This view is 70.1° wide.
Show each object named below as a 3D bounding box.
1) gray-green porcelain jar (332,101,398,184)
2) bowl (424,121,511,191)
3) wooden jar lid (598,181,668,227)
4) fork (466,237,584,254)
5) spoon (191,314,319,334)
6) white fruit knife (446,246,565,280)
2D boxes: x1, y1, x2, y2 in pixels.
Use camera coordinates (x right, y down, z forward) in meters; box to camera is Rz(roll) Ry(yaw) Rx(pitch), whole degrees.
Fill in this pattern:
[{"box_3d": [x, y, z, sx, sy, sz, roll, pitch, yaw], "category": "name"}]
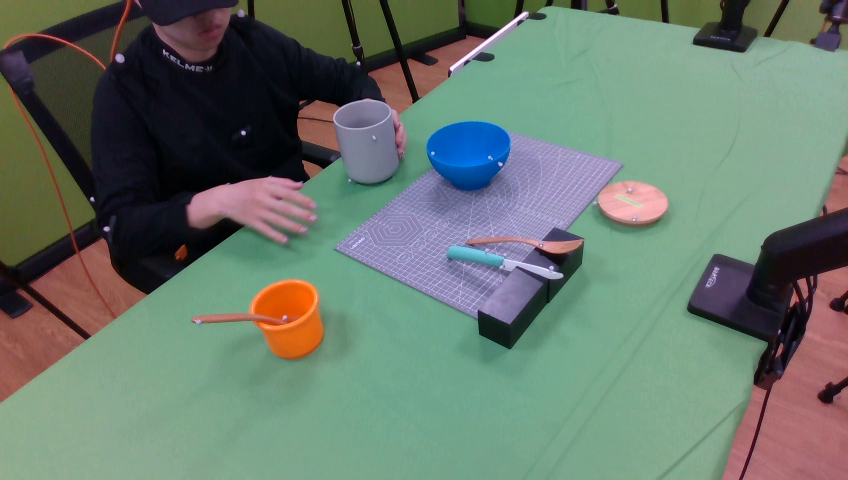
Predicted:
[{"box_3d": [-0.105, -0.174, 1.108, 0.106, 0.127, 0.105, -4, 40, 4], "category": "gray-green porcelain jar"}, {"box_3d": [0.080, -0.141, 1.074, 0.151, 0.077, 0.150, -4, 40, 4], "category": "bowl"}, {"box_3d": [0.340, -0.058, 0.989, 0.108, 0.021, 0.108, -5, 41, 5], "category": "wooden jar lid"}, {"box_3d": [0.142, 0.005, 0.894, 0.205, 0.019, 0.028, 4, 43, 41], "category": "fork"}, {"box_3d": [-0.212, 0.105, 0.781, 0.041, 0.195, 0.021, 29, 97, 37], "category": "spoon"}, {"box_3d": [0.111, 0.033, 0.868, 0.205, 0.027, 0.016, 11, 43, 40], "category": "white fruit knife"}]
